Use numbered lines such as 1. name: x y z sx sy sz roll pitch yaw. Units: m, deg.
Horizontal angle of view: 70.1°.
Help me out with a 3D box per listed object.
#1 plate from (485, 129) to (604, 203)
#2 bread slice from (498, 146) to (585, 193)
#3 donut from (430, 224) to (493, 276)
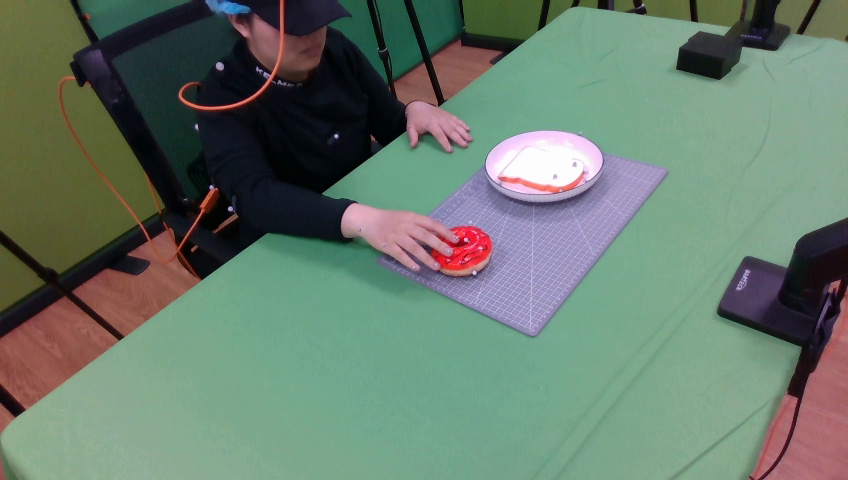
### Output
1. plate: 0.213 -0.129 1.079 0.209 0.038 0.208 -5 40 5
2. bread slice: 0.216 -0.124 1.077 0.133 0.018 0.107 16 47 28
3. donut: 0.058 0.014 0.934 0.099 0.048 0.098 -7 40 7
